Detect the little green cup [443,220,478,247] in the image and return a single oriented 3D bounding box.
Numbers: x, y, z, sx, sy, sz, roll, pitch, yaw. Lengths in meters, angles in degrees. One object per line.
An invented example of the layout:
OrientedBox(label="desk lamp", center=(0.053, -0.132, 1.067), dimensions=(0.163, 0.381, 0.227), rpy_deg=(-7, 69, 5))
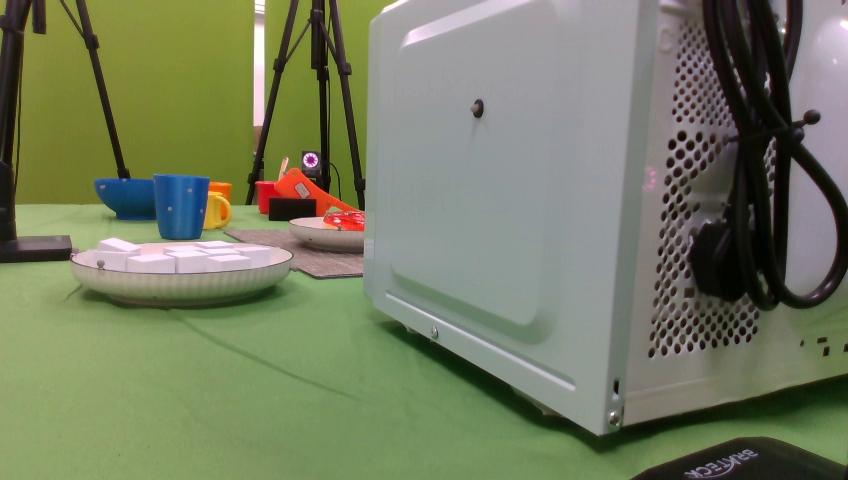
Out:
OrientedBox(label="little green cup", center=(0.062, -0.012, 1.037), dimensions=(0.061, 0.038, 0.061), rpy_deg=(0, 11, 0))

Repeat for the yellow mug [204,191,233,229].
OrientedBox(label="yellow mug", center=(-0.415, -0.057, 1.132), dimensions=(0.130, 0.064, 0.100), rpy_deg=(6, 8, 16))

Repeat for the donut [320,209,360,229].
OrientedBox(label="donut", center=(-0.115, -0.023, 0.961), dimensions=(0.099, 0.048, 0.099), rpy_deg=(5, 9, 0))

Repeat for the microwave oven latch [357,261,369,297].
OrientedBox(label="microwave oven latch", center=(-0.019, 0.033, 0.531), dimensions=(0.079, 0.029, 0.030), rpy_deg=(-1, 7, -27))

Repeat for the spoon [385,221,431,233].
OrientedBox(label="spoon", center=(-0.023, -0.028, 1.187), dimensions=(0.041, 0.021, 0.194), rpy_deg=(-10, 1, 23))

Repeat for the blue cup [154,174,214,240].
OrientedBox(label="blue cup", center=(-0.390, -0.053, 0.978), dimensions=(0.093, 0.100, 0.092), rpy_deg=(4, 6, 0))

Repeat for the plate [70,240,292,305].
OrientedBox(label="plate", center=(-0.242, 0.031, 0.618), dimensions=(0.208, 0.039, 0.207), rpy_deg=(2, 8, 0))

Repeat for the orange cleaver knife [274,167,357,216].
OrientedBox(label="orange cleaver knife", center=(-0.238, -0.091, 1.381), dimensions=(0.212, 0.077, 0.012), rpy_deg=(31, 0, -19))

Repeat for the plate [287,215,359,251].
OrientedBox(label="plate", center=(-0.112, -0.012, 0.960), dimensions=(0.209, 0.038, 0.209), rpy_deg=(3, 8, 0))

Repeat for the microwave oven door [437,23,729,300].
OrientedBox(label="microwave oven door", center=(0.181, -0.072, 0.621), dimensions=(0.358, 0.243, 0.039), rpy_deg=(-2, 9, -29))

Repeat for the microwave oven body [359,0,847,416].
OrientedBox(label="microwave oven body", center=(0.211, -0.047, 0.474), dimensions=(0.444, 0.260, 0.324), rpy_deg=(-1, 7, -28))

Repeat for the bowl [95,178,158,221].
OrientedBox(label="bowl", center=(-0.576, -0.081, 1.217), dimensions=(0.151, 0.077, 0.151), rpy_deg=(3, 8, 0))

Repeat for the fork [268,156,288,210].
OrientedBox(label="fork", center=(-0.360, -0.144, 1.508), dimensions=(0.028, 0.018, 0.207), rpy_deg=(1, 49, 0))
